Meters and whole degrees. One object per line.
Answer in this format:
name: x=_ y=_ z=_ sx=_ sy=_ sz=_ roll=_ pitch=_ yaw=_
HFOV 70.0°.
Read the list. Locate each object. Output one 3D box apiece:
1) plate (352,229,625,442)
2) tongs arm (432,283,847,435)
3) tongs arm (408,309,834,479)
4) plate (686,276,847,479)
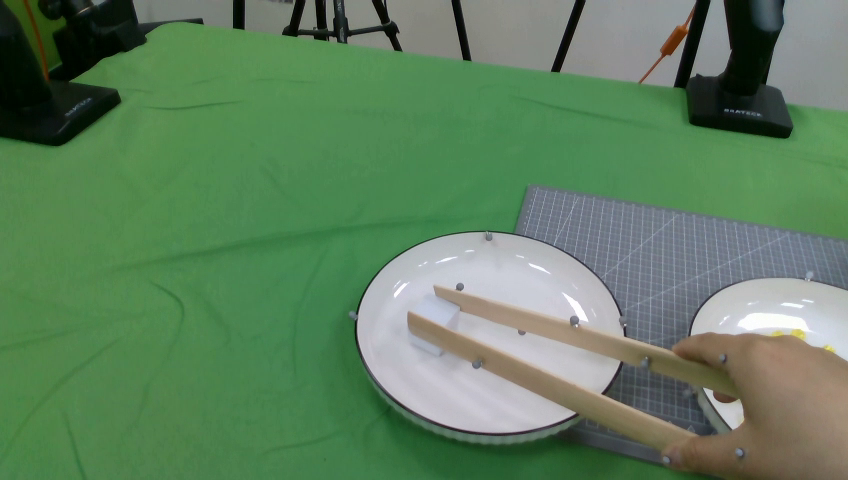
plate: x=0.050 y=0.071 z=0.481 sx=0.209 sy=0.038 sz=0.207 roll=0 pitch=41 yaw=1
tongs arm: x=0.161 y=0.093 z=0.378 sx=0.382 sy=0.027 sz=0.050 roll=13 pitch=42 yaw=29
tongs arm: x=0.147 y=0.107 z=0.364 sx=0.384 sy=0.028 sz=0.028 roll=16 pitch=41 yaw=32
plate: x=0.296 y=0.111 z=0.441 sx=0.208 sy=0.039 sz=0.205 roll=1 pitch=41 yaw=0
